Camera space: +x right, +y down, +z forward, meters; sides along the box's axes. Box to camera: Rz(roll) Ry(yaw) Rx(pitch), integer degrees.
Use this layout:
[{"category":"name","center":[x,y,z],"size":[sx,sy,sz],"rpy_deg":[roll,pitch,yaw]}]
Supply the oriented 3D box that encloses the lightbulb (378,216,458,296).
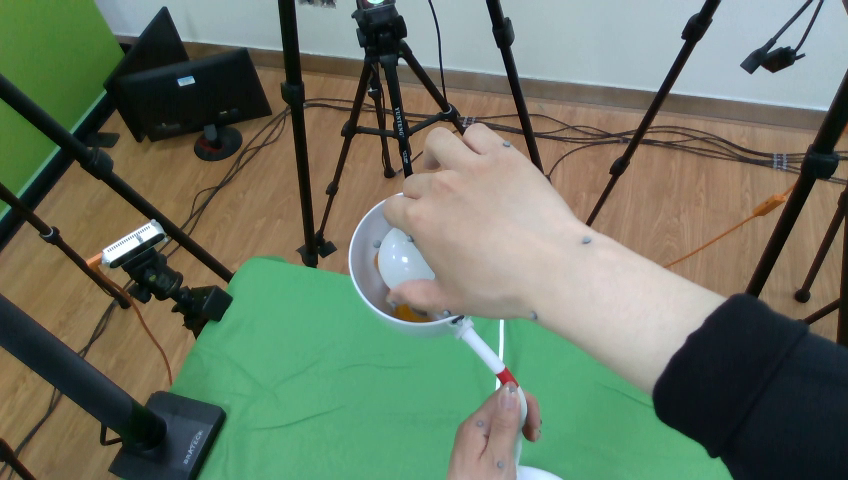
[{"category":"lightbulb","center":[-0.003,0.020,0.470],"size":[0.059,0.108,0.059],"rpy_deg":[-1,70,3]}]

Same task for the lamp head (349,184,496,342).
[{"category":"lamp head","center":[0.004,0.033,0.499],"size":[0.112,0.124,0.111],"rpy_deg":[-3,62,5]}]

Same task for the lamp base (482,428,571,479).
[{"category":"lamp base","center":[0.111,0.286,0.647],"size":[0.161,0.182,0.177],"rpy_deg":[-23,52,-10]}]
